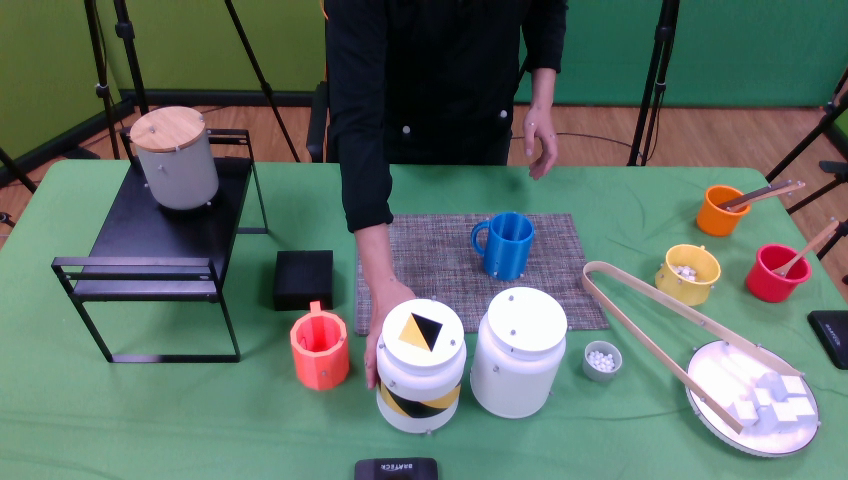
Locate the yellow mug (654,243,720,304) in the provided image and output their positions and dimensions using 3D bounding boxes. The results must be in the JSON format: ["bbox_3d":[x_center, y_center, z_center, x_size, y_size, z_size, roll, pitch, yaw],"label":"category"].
[{"bbox_3d":[0.504,0.054,1.154,0.099,0.064,0.130,28,50,22],"label":"yellow mug"}]

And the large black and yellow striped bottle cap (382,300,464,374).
[{"bbox_3d":[-0.001,0.132,0.843,0.115,0.019,0.114,2,46,-1],"label":"large black and yellow striped bottle cap"}]

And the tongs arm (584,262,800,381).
[{"bbox_3d":[0.452,0.137,1.064,0.051,0.027,0.382,-34,50,-27],"label":"tongs arm"}]

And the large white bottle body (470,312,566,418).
[{"bbox_3d":[0.143,0.174,0.930,0.131,0.185,0.130,2,46,-2],"label":"large white bottle body"}]

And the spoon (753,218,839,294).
[{"bbox_3d":[0.700,0.031,1.138,0.194,0.022,0.041,-47,55,14],"label":"spoon"}]

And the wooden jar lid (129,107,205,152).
[{"bbox_3d":[-0.385,-0.163,0.915,0.108,0.021,0.107,2,47,-2],"label":"wooden jar lid"}]

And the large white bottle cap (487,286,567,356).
[{"bbox_3d":[0.147,0.114,0.869,0.115,0.018,0.114,3,46,-3],"label":"large white bottle cap"}]

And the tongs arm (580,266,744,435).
[{"bbox_3d":[0.384,0.174,1.029,0.028,0.028,0.385,-25,46,-14],"label":"tongs arm"}]

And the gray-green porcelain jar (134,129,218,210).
[{"bbox_3d":[-0.388,-0.120,0.960,0.106,0.127,0.105,2,46,-2],"label":"gray-green porcelain jar"}]

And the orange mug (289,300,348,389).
[{"bbox_3d":[-0.170,0.162,0.976,0.083,0.101,0.125,-8,52,-11],"label":"orange mug"}]

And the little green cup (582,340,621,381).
[{"bbox_3d":[0.295,0.204,1.015,0.061,0.039,0.061,2,45,-2],"label":"little green cup"}]

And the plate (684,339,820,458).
[{"bbox_3d":[0.523,0.256,0.982,0.208,0.039,0.206,2,46,-2],"label":"plate"}]

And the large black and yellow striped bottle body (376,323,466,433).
[{"bbox_3d":[-0.006,0.189,0.904,0.131,0.185,0.130,2,46,-2],"label":"large black and yellow striped bottle body"}]

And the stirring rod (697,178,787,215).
[{"bbox_3d":[0.650,-0.088,1.246,0.006,0.176,0.014,29,50,-39],"label":"stirring rod"}]

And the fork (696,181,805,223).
[{"bbox_3d":[0.659,-0.077,1.231,0.207,0.019,0.028,-26,35,34],"label":"fork"}]

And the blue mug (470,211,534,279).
[{"bbox_3d":[0.141,0.005,1.140,0.116,0.106,0.082,18,48,13],"label":"blue mug"}]
